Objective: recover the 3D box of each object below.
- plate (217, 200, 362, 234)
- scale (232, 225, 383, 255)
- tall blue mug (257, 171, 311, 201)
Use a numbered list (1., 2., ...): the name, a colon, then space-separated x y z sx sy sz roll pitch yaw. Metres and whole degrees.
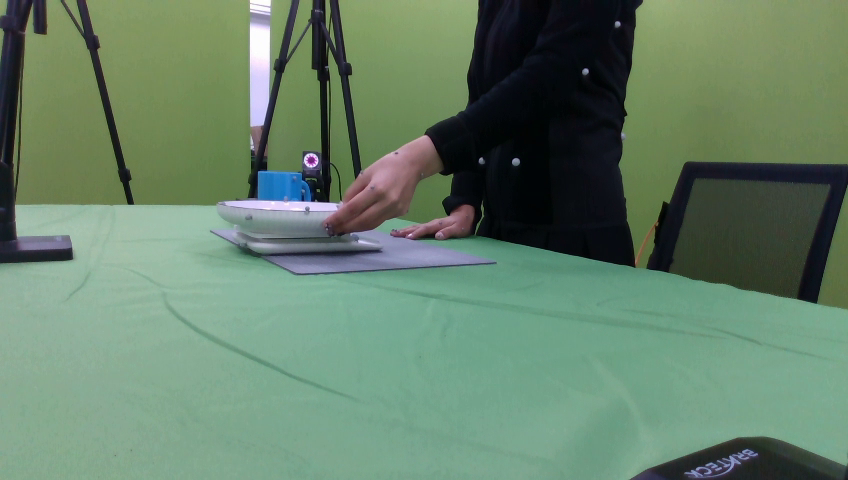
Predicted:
1. plate: -0.196 -0.035 0.894 0.209 0.038 0.209 2 7 0
2. scale: -0.178 -0.004 0.920 0.202 0.031 0.148 -1 9 -30
3. tall blue mug: -0.259 -0.070 1.107 0.078 0.108 0.107 2 7 5
